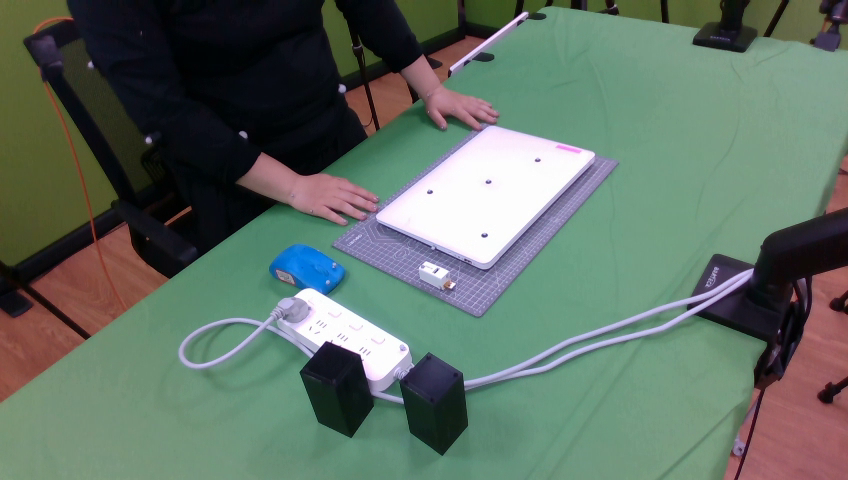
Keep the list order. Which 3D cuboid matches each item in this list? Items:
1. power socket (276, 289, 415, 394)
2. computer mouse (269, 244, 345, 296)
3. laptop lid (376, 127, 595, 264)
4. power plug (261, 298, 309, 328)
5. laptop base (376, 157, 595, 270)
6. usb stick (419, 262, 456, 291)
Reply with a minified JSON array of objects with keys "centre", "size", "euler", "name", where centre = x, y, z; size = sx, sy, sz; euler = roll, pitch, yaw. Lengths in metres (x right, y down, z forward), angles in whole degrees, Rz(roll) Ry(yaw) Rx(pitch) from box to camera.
[{"centre":[-0.114,0.133,0.820],"size":[0.225,0.033,0.072],"euler":[25,49,33],"name":"power socket"},{"centre":[-0.182,0.044,0.933],"size":[0.116,0.041,0.063],"euler":[23,46,25],"name":"computer mouse"},{"centre":[0.112,-0.096,1.050],"size":[0.239,0.013,0.358],"euler":[24,49,34],"name":"laptop lid"},{"centre":[-0.193,0.107,0.831],"size":[0.073,0.053,0.035],"euler":[-33,43,-26],"name":"power plug"},{"centre":[0.115,-0.086,1.056],"size":[0.233,0.023,0.355],"euler":[21,48,34],"name":"laptop base"},{"centre":[0.022,0.056,0.892],"size":[0.058,0.027,0.021],"euler":[25,46,30],"name":"usb stick"}]
